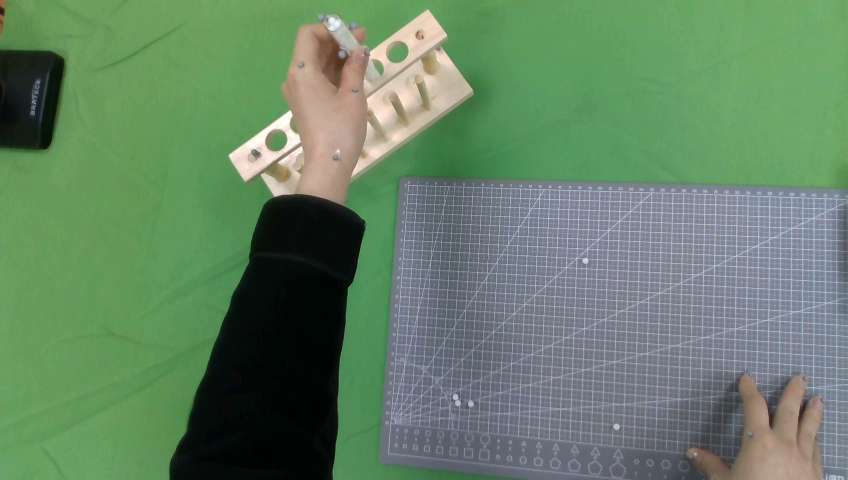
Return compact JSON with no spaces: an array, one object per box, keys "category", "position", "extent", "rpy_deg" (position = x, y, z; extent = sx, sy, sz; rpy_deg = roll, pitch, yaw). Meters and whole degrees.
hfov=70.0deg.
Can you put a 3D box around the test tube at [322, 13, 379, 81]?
[{"category":"test tube","position":[-0.061,-0.163,0.536],"extent":[0.017,0.150,0.017],"rpy_deg":[0,88,8]}]

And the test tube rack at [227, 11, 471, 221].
[{"category":"test tube rack","position":[-0.072,-0.121,0.626],"extent":[0.242,0.085,0.066],"rpy_deg":[-35,79,4]}]
